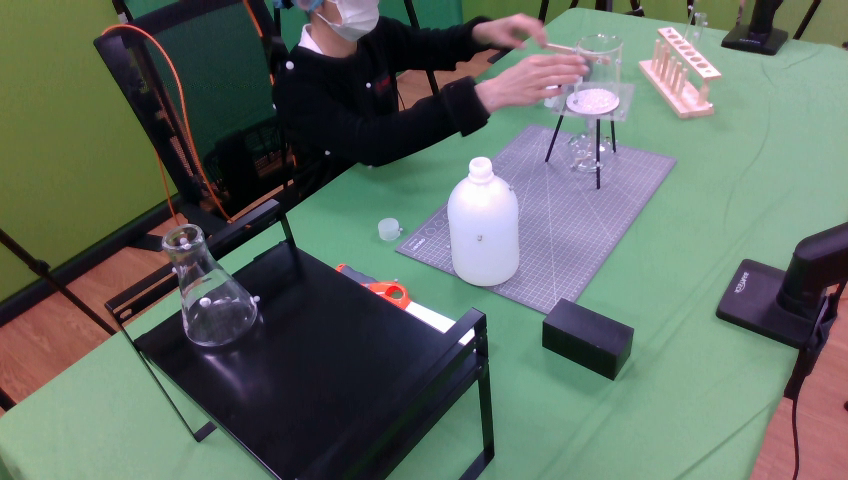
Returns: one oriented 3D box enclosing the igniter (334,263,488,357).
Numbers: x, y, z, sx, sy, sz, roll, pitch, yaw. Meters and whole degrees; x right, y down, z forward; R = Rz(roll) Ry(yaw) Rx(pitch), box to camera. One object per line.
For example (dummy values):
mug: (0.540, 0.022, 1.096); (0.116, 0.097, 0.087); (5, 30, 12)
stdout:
igniter: (-0.030, 0.095, 0.872); (0.274, 0.025, 0.057); (23, 60, 31)

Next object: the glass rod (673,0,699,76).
glass rod: (0.541, -0.427, 1.246); (0.008, 0.200, 0.008); (-1, 48, 1)

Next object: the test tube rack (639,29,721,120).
test tube rack: (0.527, -0.351, 1.262); (0.067, 0.085, 0.241); (-8, 40, 1)

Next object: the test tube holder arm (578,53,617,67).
test tube holder arm: (0.376, -0.393, 1.314); (0.087, 0.015, 0.010); (26, 51, 32)

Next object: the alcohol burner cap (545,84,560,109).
alcohol burner cap: (0.274, -0.308, 1.285); (0.034, 0.048, 0.033); (-5, 42, 5)

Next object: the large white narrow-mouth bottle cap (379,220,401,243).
large white narrow-mouth bottle cap: (-0.057, -0.015, 1.011); (0.038, 0.024, 0.037); (-4, 40, 4)

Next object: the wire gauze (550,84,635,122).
wire gauze: (0.285, -0.235, 1.021); (0.124, 0.011, 0.121); (8, 41, 23)

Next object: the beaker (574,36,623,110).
beaker: (0.285, -0.273, 0.990); (0.073, 0.101, 0.084); (15, 46, 27)

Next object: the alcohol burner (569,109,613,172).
alcohol burner: (0.297, -0.181, 1.073); (0.078, 0.119, 0.077); (-5, 43, 5)

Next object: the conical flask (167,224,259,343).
conical flask: (-0.220, 0.041, 0.613); (0.075, 0.122, 0.075); (-5, 40, 4)

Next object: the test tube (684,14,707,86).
test tube: (0.541, -0.379, 1.216); (0.017, 0.151, 0.017); (-2, 44, 2)

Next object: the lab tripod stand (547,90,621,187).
lab tripod stand: (0.289, -0.184, 1.062); (0.148, 0.132, 0.147); (-6, 41, 6)

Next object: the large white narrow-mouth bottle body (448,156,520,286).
large white narrow-mouth bottle body: (0.086, -0.032, 0.869); (0.102, 0.195, 0.101); (-4, 40, 4)

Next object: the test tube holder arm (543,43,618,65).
test tube holder arm: (0.345, -0.413, 1.340); (0.177, 0.015, 0.013); (25, 50, 31)
